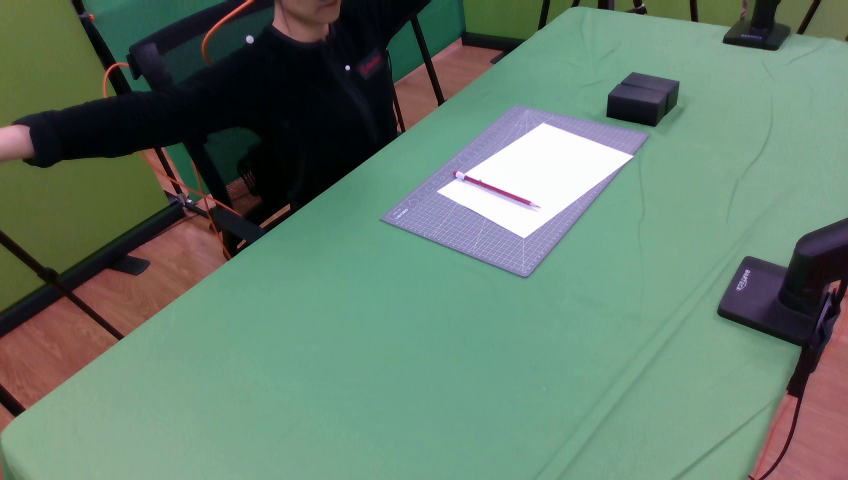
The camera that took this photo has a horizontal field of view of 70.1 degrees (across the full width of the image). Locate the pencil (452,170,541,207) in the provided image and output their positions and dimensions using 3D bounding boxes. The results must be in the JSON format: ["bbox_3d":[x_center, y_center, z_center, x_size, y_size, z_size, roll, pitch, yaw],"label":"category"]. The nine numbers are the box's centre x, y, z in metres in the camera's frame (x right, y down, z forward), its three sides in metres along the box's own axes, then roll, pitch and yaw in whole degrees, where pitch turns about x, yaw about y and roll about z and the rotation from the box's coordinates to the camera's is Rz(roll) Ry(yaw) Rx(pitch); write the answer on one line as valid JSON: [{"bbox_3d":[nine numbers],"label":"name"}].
[{"bbox_3d":[0.125,-0.091,1.069,0.192,0.012,0.012,26,52,35],"label":"pencil"}]
